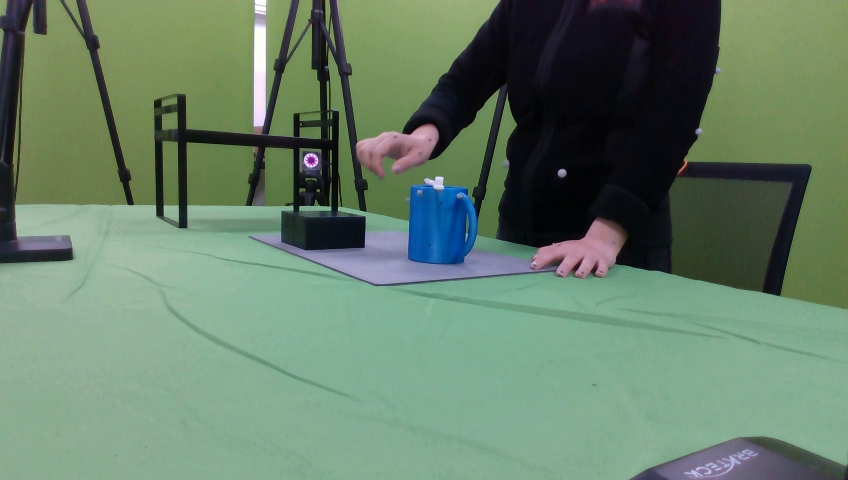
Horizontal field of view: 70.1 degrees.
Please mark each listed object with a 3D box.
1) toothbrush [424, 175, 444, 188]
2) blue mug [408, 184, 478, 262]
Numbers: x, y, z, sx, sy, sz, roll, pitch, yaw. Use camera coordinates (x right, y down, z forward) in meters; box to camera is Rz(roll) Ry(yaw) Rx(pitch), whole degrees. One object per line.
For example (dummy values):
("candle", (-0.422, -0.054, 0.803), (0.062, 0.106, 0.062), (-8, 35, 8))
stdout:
("toothbrush", (0.012, -0.085, 0.853), (0.014, 0.016, 0.181), (-5, 8, -4))
("blue mug", (0.031, -0.024, 0.843), (0.083, 0.106, 0.116), (-5, 10, -42))
